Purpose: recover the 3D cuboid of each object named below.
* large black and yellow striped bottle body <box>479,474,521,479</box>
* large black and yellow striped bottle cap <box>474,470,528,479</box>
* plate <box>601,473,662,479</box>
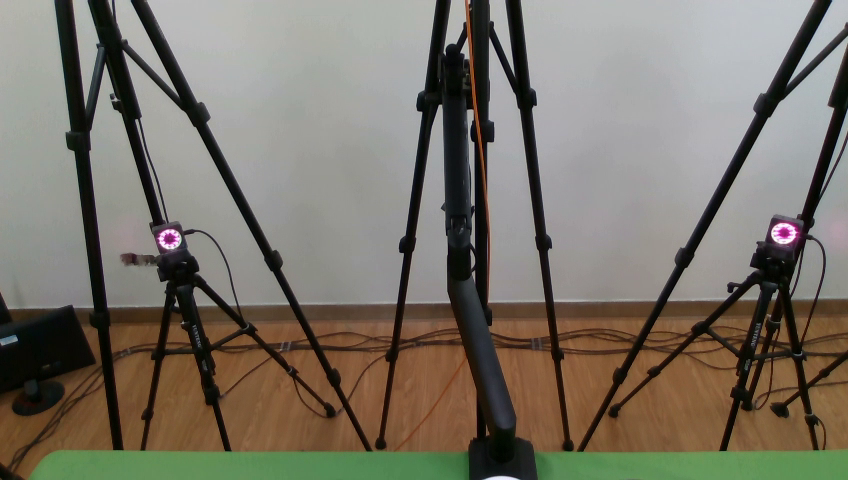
[{"bbox_3d":[0.110,0.440,0.870,0.131,0.185,0.129,-2,32,1],"label":"large black and yellow striped bottle body"},{"bbox_3d":[0.108,0.367,0.826,0.115,0.019,0.114,-1,33,1],"label":"large black and yellow striped bottle cap"},{"bbox_3d":[0.346,0.464,0.953,0.209,0.038,0.207,-2,32,2],"label":"plate"}]
